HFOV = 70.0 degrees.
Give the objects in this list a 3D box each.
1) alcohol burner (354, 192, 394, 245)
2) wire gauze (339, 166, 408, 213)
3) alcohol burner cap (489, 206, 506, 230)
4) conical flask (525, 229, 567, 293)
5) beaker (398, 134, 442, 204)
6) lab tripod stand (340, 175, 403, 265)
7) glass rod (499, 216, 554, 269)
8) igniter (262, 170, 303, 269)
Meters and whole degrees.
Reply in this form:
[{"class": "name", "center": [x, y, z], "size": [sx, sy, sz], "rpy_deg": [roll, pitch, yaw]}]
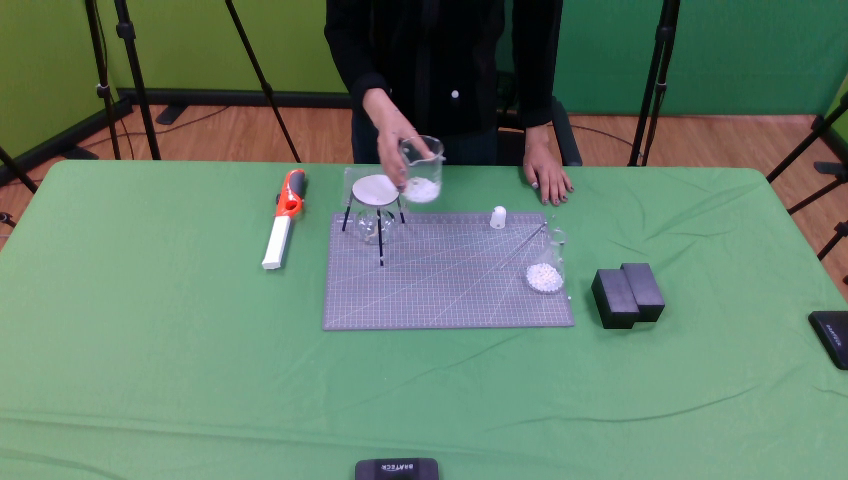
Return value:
[{"class": "alcohol burner", "center": [-0.096, -0.048, 1.171], "size": [0.078, 0.119, 0.077], "rpy_deg": [4, 45, -4]}, {"class": "wire gauze", "center": [-0.091, -0.096, 1.110], "size": [0.125, 0.011, 0.120], "rpy_deg": [2, 45, -3]}, {"class": "alcohol burner cap", "center": [0.152, -0.047, 1.241], "size": [0.034, 0.048, 0.033], "rpy_deg": [2, 45, -2]}, {"class": "conical flask", "center": [0.231, 0.036, 1.110], "size": [0.075, 0.122, 0.075], "rpy_deg": [2, 46, -2]}, {"class": "beaker", "center": [-0.009, -0.118, 1.048], "size": [0.074, 0.101, 0.083], "rpy_deg": [17, 45, 17]}, {"class": "lab tripod stand", "center": [-0.094, -0.050, 1.160], "size": [0.148, 0.132, 0.147], "rpy_deg": [2, 44, -2]}, {"class": "glass rod", "center": [0.208, 0.002, 1.219], "size": [0.008, 0.008, 0.199], "rpy_deg": [32, 52, 25]}, {"class": "igniter", "center": [-0.283, -0.050, 1.222], "size": [0.057, 0.025, 0.275], "rpy_deg": [-5, 45, 6]}]
